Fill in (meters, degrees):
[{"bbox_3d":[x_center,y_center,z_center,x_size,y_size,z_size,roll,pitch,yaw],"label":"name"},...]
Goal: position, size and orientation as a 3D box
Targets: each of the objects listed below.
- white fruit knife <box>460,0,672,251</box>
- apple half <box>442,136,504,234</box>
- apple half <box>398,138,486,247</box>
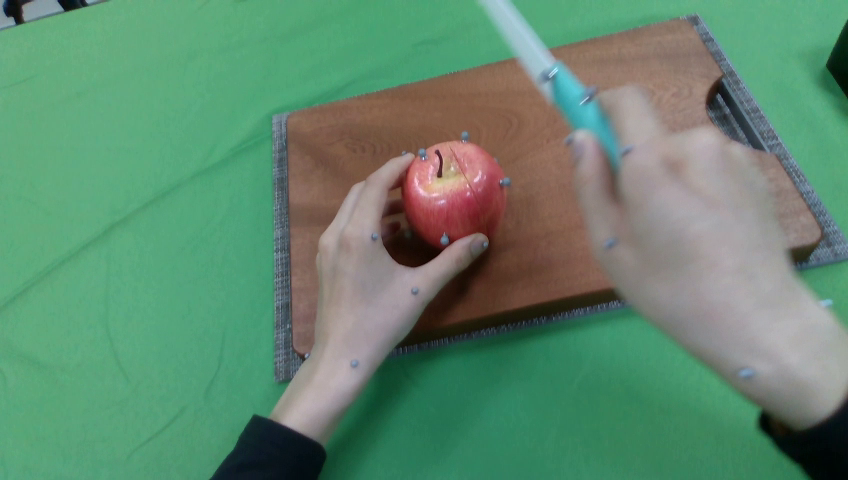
[{"bbox_3d":[0.068,-0.082,0.335,0.016,0.027,0.206,-28,70,-16],"label":"white fruit knife"},{"bbox_3d":[0.044,-0.045,0.464,0.033,0.082,0.080,-25,56,0],"label":"apple half"},{"bbox_3d":[0.009,-0.029,0.462,0.053,0.075,0.080,-25,59,0],"label":"apple half"}]
